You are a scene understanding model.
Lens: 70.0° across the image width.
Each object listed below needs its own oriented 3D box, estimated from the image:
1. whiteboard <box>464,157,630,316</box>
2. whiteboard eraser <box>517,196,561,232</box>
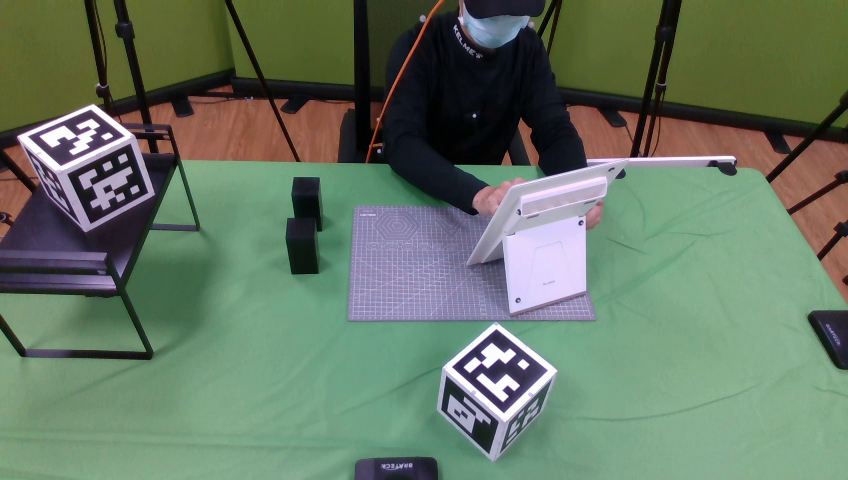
[{"bbox_3d":[0.224,0.015,1.042,0.217,0.306,0.143,-13,68,-17],"label":"whiteboard"},{"bbox_3d":[0.207,-0.047,1.089,0.041,0.101,0.018,-6,65,-36],"label":"whiteboard eraser"}]
